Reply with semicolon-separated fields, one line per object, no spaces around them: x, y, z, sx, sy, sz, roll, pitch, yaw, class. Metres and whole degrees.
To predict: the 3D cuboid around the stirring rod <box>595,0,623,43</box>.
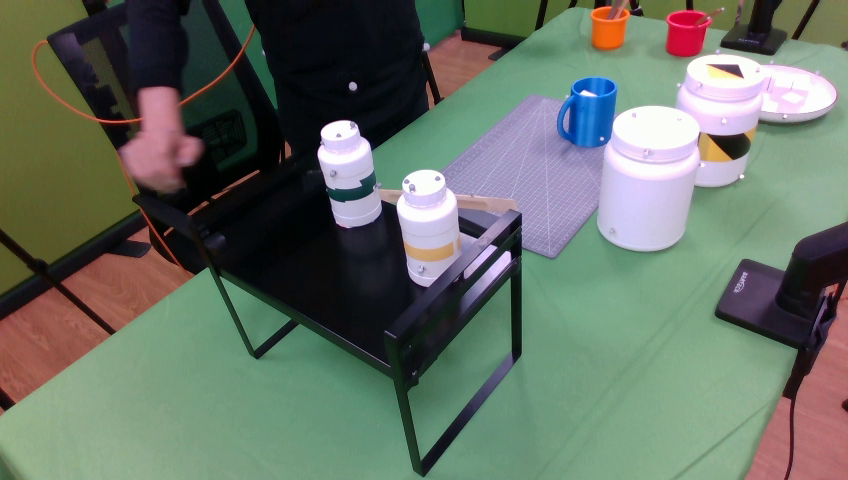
0.460;-0.556;1.459;0.014;0.006;0.176;29;93;22;stirring rod

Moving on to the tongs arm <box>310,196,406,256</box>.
-0.078;-0.013;0.944;0.028;0.028;0.384;-42;39;-23;tongs arm

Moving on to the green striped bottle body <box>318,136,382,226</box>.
-0.090;-0.080;0.733;0.063;0.120;0.063;-4;41;4;green striped bottle body

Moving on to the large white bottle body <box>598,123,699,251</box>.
0.334;-0.090;0.906;0.130;0.185;0.130;-5;41;5;large white bottle body

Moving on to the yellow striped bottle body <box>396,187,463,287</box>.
0.006;-0.013;0.638;0.063;0.121;0.062;-5;41;4;yellow striped bottle body

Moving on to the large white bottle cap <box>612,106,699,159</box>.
0.325;-0.153;0.850;0.115;0.018;0.114;-4;41;4;large white bottle cap

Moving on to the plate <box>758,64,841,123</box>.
0.695;-0.283;1.189;0.207;0.039;0.206;-4;40;4;plate

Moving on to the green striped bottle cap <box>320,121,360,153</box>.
-0.097;-0.120;0.699;0.044;0.020;0.044;-4;40;3;green striped bottle cap

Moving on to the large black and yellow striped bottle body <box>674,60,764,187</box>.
0.482;-0.196;1.008;0.131;0.185;0.130;-4;41;4;large black and yellow striped bottle body

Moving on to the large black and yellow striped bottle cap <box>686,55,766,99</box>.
0.474;-0.258;0.952;0.115;0.019;0.114;-5;41;5;large black and yellow striped bottle cap

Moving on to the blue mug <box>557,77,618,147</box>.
0.303;-0.237;1.139;0.117;0.106;0.081;-19;42;-13;blue mug

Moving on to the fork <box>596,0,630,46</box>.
0.480;-0.556;1.452;0.028;0.019;0.207;40;103;40;fork

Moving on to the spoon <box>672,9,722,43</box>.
0.606;-0.476;1.345;0.042;0.021;0.193;-6;-3;-2;spoon

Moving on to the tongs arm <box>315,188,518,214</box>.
-0.028;-0.060;0.988;0.382;0.027;0.051;9;45;36;tongs arm

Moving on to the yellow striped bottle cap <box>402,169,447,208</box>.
0.000;-0.052;0.604;0.044;0.019;0.044;-5;43;5;yellow striped bottle cap
